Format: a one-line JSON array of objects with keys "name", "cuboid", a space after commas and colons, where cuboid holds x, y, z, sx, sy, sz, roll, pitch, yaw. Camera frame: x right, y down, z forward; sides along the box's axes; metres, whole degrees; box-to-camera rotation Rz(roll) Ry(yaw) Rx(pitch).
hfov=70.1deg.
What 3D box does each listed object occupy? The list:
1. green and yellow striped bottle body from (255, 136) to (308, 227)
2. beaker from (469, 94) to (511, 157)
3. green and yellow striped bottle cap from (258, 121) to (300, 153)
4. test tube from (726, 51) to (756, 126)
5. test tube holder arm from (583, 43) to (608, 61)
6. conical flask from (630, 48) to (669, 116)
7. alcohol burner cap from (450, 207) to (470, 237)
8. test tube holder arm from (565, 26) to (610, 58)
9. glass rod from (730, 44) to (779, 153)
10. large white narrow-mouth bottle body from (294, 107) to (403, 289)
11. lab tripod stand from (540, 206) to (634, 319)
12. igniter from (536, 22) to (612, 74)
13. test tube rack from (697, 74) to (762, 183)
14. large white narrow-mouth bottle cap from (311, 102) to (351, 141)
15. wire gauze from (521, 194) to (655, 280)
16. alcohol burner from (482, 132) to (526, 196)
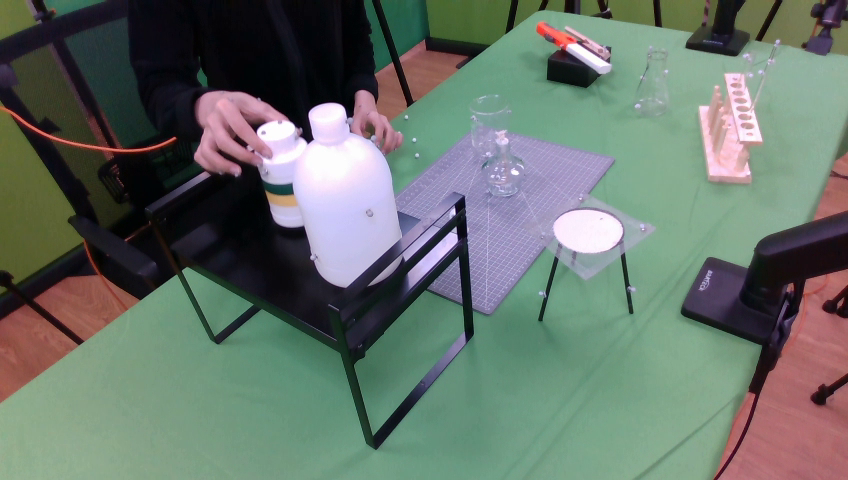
[{"name": "green and yellow striped bottle body", "cuboid": [-0.165, -0.080, 0.729, 0.063, 0.120, 0.063, -3, 40, 3]}, {"name": "beaker", "cuboid": [0.124, -0.216, 1.148, 0.074, 0.101, 0.083, -21, 42, -16]}, {"name": "green and yellow striped bottle cap", "cuboid": [-0.167, -0.119, 0.696, 0.045, 0.020, 0.045, -4, 40, 4]}, {"name": "test tube", "cuboid": [0.568, -0.268, 1.086, 0.017, 0.151, 0.017, -4, 46, 4]}, {"name": "test tube holder arm", "cuboid": [0.379, -0.420, 1.341, 0.010, 0.015, 0.087, -39, 41, 10]}, {"name": "conical flask", "cuboid": [0.456, -0.317, 1.205, 0.075, 0.122, 0.075, -4, 41, 4]}, {"name": "alcohol burner cap", "cuboid": [0.057, -0.032, 0.987, 0.034, 0.048, 0.033, -4, 41, 4]}, {"name": "test tube holder arm", "cuboid": [0.369, -0.450, 1.373, 0.013, 0.015, 0.177, -39, 41, 10]}, {"name": "glass rod", "cuboid": [0.555, -0.233, 1.020, 0.008, 0.200, 0.008, 2, 39, -1]}, {"name": "large white narrow-mouth bottle body", "cuboid": [-0.082, -0.047, 0.634, 0.102, 0.195, 0.101, -4, 40, 4]}, {"name": "lab tripod stand", "cuboid": [0.218, 0.034, 0.821, 0.148, 0.132, 0.147, -4, 42, 4]}, {"name": "igniter", "cuboid": [0.330, -0.439, 1.366, 0.057, 0.025, 0.274, -11, 41, -20]}, {"name": "test tube rack", "cuboid": [0.547, -0.208, 1.095, 0.066, 0.085, 0.242, 5, 42, 15]}, {"name": "large white narrow-mouth bottle cap", "cuboid": [-0.089, -0.113, 0.579, 0.038, 0.024, 0.037, -4, 40, 3]}, {"name": "wire gauze", "cuboid": [0.207, -0.012, 0.772, 0.122, 0.011, 0.124, -28, 44, -20]}, {"name": "alcohol burner", "cuboid": [0.137, -0.136, 1.042, 0.078, 0.119, 0.077, -4, 43, 4]}]
